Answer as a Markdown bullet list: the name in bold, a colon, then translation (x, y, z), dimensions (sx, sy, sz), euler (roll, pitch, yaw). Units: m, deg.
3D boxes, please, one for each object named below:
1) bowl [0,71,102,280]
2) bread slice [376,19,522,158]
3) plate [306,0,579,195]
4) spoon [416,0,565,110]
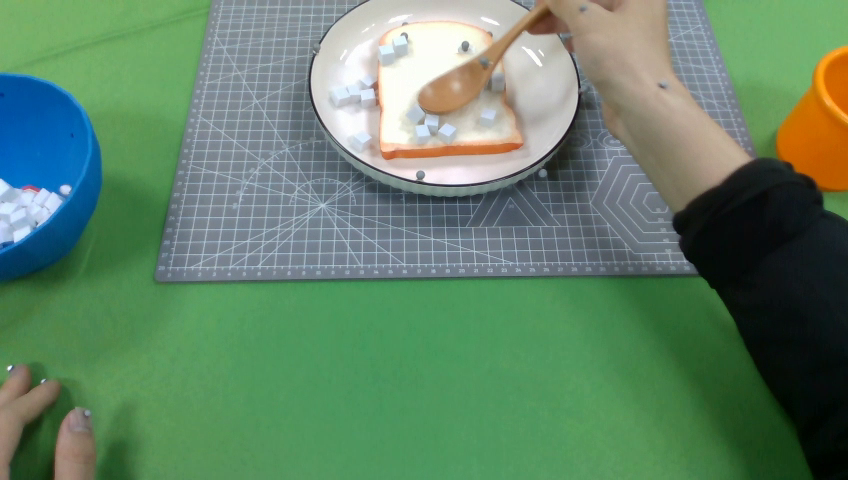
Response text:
- **bowl**: translation (-0.280, -0.028, 0.398), dimensions (0.151, 0.077, 0.150), euler (1, 61, -2)
- **bread slice**: translation (0.010, -0.123, 0.483), dimensions (0.107, 0.018, 0.133), euler (-7, 64, -5)
- **plate**: translation (0.014, -0.120, 0.478), dimensions (0.209, 0.038, 0.207), euler (1, 62, -1)
- **spoon**: translation (0.076, -0.156, 0.439), dimensions (0.194, 0.022, 0.041), euler (-38, 48, 10)
